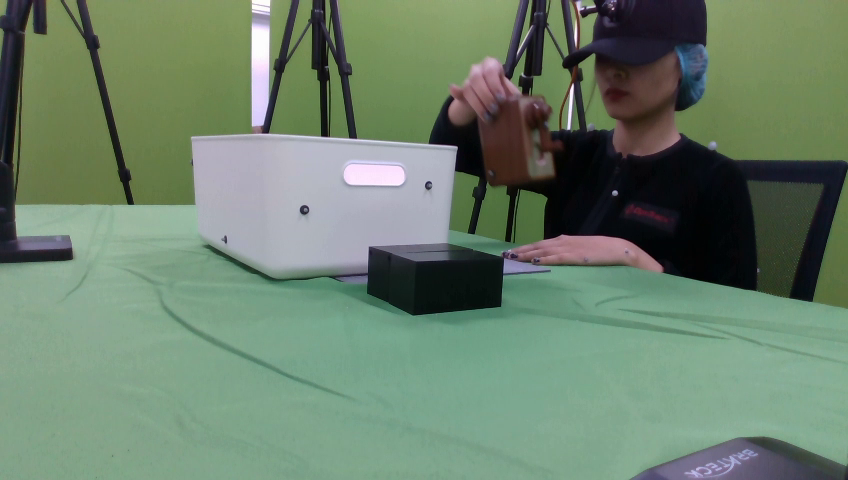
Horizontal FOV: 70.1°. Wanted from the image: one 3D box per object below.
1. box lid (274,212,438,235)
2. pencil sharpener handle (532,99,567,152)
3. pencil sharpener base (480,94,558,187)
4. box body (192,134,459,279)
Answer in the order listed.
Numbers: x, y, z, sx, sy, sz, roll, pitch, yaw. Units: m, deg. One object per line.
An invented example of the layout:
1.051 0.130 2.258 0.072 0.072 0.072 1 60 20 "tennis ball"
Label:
-0.156 -0.037 1.283 0.264 0.015 0.370 -1 7 -25 "box lid"
0.157 -0.142 0.739 0.036 0.067 0.030 -9 3 -44 "pencil sharpener handle"
0.124 -0.127 0.777 0.061 0.107 0.076 -12 5 -43 "pencil sharpener base"
-0.154 -0.059 0.840 0.255 0.160 0.362 -2 9 -33 "box body"
